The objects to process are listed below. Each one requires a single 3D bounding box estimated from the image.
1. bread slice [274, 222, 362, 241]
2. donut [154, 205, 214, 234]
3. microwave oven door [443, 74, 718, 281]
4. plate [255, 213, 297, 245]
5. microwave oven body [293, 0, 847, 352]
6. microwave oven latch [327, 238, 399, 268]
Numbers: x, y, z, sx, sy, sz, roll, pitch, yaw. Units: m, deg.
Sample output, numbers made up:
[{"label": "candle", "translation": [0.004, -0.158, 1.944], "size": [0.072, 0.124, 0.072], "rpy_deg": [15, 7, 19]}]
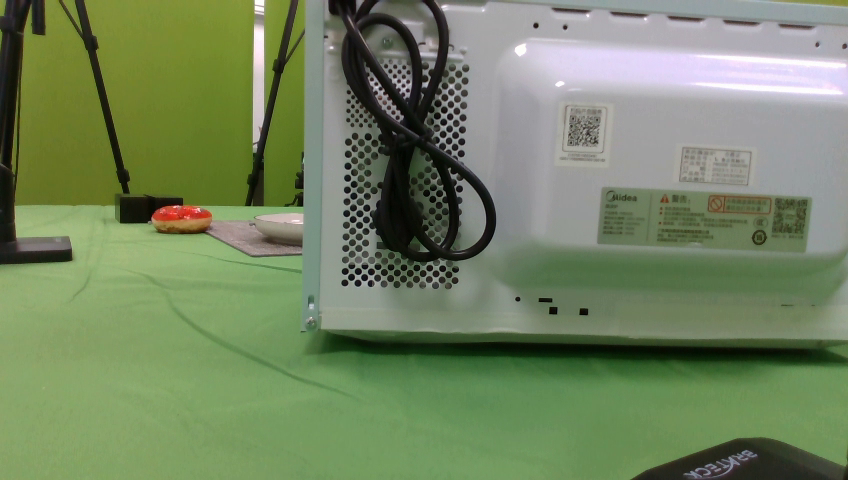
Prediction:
[{"label": "bread slice", "translation": [-0.181, -0.016, 1.011], "size": [0.104, 0.019, 0.132], "rpy_deg": [6, 8, 27]}, {"label": "donut", "translation": [-0.426, -0.037, 1.075], "size": [0.099, 0.048, 0.099], "rpy_deg": [2, 12, 0]}, {"label": "microwave oven door", "translation": [0.186, -0.090, 0.806], "size": [0.354, 0.243, 0.039], "rpy_deg": [7, 9, 34]}, {"label": "plate", "translation": [-0.177, -0.018, 1.017], "size": [0.208, 0.039, 0.207], "rpy_deg": [2, 7, 0]}, {"label": "microwave oven body", "translation": [0.122, -0.055, 0.550], "size": [0.442, 0.260, 0.325], "rpy_deg": [3, 7, -5]}, {"label": "microwave oven latch", "translation": [-0.069, 0.015, 0.694], "size": [0.079, 0.029, 0.030], "rpy_deg": [3, 7, -3]}]
